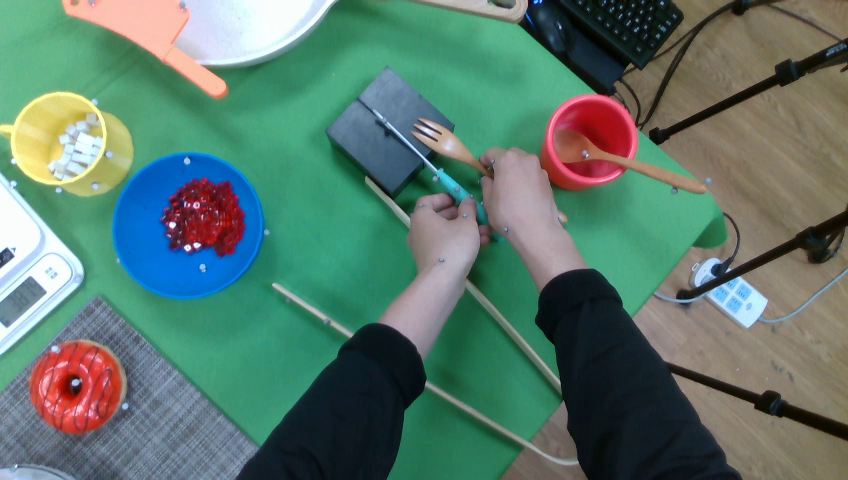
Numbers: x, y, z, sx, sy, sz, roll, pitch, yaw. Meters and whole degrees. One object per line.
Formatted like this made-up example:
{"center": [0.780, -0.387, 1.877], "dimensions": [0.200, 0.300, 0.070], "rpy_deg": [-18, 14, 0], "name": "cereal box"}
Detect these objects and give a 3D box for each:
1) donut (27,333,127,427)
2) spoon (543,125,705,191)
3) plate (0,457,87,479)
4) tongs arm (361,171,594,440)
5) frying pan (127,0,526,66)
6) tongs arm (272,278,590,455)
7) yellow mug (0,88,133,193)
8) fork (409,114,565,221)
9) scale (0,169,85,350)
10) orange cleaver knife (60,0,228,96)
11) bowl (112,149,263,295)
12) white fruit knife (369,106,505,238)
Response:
{"center": [-0.368, 0.148, 0.643], "dimensions": [0.099, 0.048, 0.099], "rpy_deg": [0, 87, -1], "name": "donut"}
{"center": [0.204, -0.085, 0.640], "dimensions": [0.191, 0.022, 0.041], "rpy_deg": [30, 81, 46], "name": "spoon"}
{"center": [-0.416, 0.329, 0.626], "dimensions": [0.209, 0.038, 0.208], "rpy_deg": [0, 84, -2], "name": "plate"}
{"center": [0.059, 0.068, 0.679], "dimensions": [0.028, 0.028, 0.387], "rpy_deg": [-42, 87, -14], "name": "tongs arm"}
{"center": [-0.128, -0.302, 0.671], "dimensions": [0.487, 0.103, 0.306], "rpy_deg": [15, 85, 8], "name": "frying pan"}
{"center": [0.007, 0.132, 0.667], "dimensions": [0.385, 0.026, 0.050], "rpy_deg": [34, 79, 1], "name": "tongs arm"}
{"center": [-0.398, -0.109, 0.660], "dimensions": [0.131, 0.064, 0.099], "rpy_deg": [10, 84, 0], "name": "yellow mug"}
{"center": [0.074, -0.078, 0.675], "dimensions": [0.208, 0.018, 0.028], "rpy_deg": [32, 74, -14], "name": "fork"}
{"center": [-0.490, 0.009, 0.662], "dimensions": [0.148, 0.031, 0.200], "rpy_deg": [-43, 88, -5], "name": "scale"}
{"center": [-0.286, -0.228, 0.637], "dimensions": [0.211, 0.012, 0.077], "rpy_deg": [32, 80, 2], "name": "orange cleaver knife"}
{"center": [-0.241, -0.015, 0.651], "dimensions": [0.151, 0.077, 0.151], "rpy_deg": [0, 85, -2], "name": "bowl"}
{"center": [0.016, -0.073, 0.666], "dimensions": [0.208, 0.027, 0.016], "rpy_deg": [42, 84, -13], "name": "white fruit knife"}
